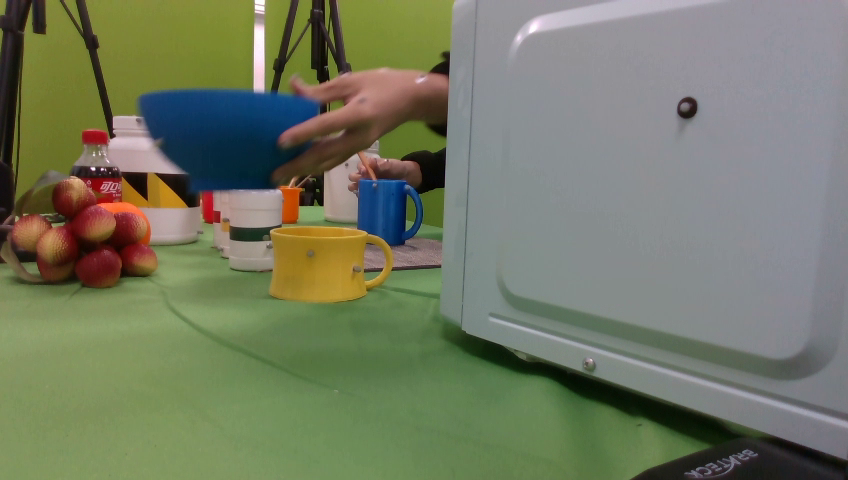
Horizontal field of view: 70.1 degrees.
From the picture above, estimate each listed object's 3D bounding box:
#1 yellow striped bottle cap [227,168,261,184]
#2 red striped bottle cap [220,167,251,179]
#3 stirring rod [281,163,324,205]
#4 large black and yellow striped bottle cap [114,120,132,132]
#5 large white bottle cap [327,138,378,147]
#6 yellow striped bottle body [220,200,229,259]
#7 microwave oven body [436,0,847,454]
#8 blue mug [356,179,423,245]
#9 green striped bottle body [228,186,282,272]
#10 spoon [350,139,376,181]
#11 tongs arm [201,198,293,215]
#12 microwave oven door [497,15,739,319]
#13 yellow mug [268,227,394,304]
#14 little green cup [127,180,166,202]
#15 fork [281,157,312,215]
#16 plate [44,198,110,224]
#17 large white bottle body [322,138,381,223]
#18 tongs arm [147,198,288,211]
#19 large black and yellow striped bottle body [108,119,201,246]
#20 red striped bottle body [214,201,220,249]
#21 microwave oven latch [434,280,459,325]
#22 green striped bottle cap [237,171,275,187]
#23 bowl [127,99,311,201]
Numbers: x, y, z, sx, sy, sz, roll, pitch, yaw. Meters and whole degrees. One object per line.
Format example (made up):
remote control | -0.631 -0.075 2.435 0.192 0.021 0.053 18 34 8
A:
yellow striped bottle cap | -0.243 -0.087 0.818 0.044 0.018 0.044 3 6 0
red striped bottle cap | -0.281 -0.100 0.901 0.044 0.017 0.044 0 5 0
stirring rod | -0.278 -0.105 1.293 0.176 0.006 0.014 -47 24 -18
large black and yellow striped bottle cap | -0.407 -0.171 0.920 0.115 0.019 0.115 2 8 0
large white bottle cap | -0.160 -0.218 1.357 0.115 0.018 0.115 2 8 0
yellow striped bottle body | -0.246 -0.036 0.825 0.063 0.120 0.063 3 8 0
microwave oven body | 0.279 -0.040 0.464 0.444 0.260 0.324 -3 9 -41
blue mug | -0.056 -0.046 1.005 0.116 0.106 0.082 6 8 22
green striped bottle body | -0.208 -0.023 0.745 0.063 0.119 0.063 2 7 0
spoon | -0.087 -0.096 1.029 0.021 0.193 0.042 -35 -24 31
tongs arm | -0.423 -0.084 1.473 0.050 0.026 0.386 1 6 21
microwave oven door | 0.216 -0.065 0.603 0.358 0.243 0.039 -4 11 -41
yellow mug | -0.094 0.023 0.630 0.131 0.064 0.099 0 8 -22
little green cup | -0.486 -0.086 1.061 0.061 0.038 0.061 1 7 0
fork | -0.289 -0.116 1.321 0.028 0.019 0.207 6 51 19
plate | -0.617 -0.056 1.179 0.209 0.038 0.209 3 7 0
large white bottle body | -0.163 -0.135 1.368 0.131 0.184 0.130 2 7 0
tongs arm | -0.503 -0.090 1.513 0.028 0.028 0.389 -1 3 38
large black and yellow striped bottle body | -0.412 -0.088 0.930 0.131 0.184 0.130 3 7 0
red striped bottle body | -0.284 -0.048 0.909 0.063 0.119 0.063 3 10 0
microwave oven latch | 0.044 0.045 0.470 0.079 0.029 0.030 -2 8 -39
green striped bottle cap | -0.206 -0.074 0.738 0.044 0.020 0.044 1 9 0
bowl | -0.173 -0.073 0.525 0.151 0.077 0.151 -1 5 0
